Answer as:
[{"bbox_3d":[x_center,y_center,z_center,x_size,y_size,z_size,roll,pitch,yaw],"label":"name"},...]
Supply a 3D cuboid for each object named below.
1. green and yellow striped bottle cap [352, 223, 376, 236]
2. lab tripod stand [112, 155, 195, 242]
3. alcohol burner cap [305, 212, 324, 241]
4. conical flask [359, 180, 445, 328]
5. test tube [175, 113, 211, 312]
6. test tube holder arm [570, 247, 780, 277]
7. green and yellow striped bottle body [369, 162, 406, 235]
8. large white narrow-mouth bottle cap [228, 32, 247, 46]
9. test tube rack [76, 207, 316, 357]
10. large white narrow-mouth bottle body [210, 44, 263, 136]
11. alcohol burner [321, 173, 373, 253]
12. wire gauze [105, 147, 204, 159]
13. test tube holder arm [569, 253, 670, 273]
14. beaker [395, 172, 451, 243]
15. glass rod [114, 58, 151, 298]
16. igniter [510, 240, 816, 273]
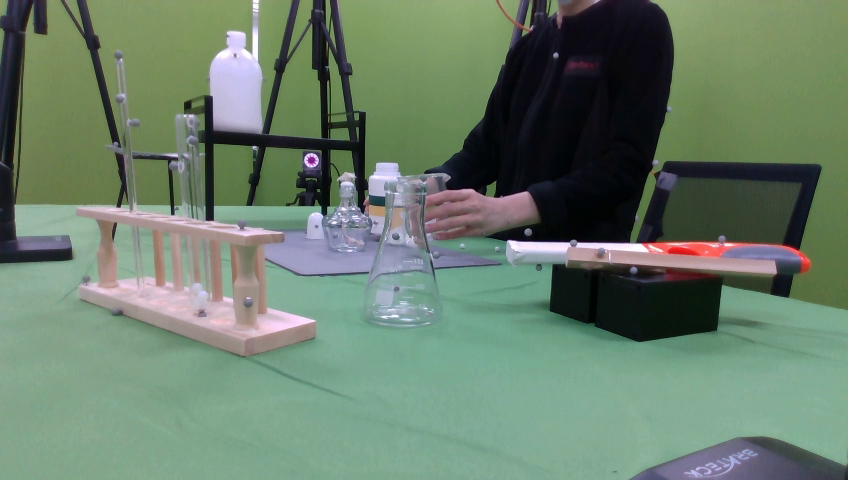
[{"bbox_3d":[-0.113,-0.020,1.140,0.045,0.020,0.045,4,6,0],"label":"green and yellow striped bottle cap"},{"bbox_3d":[-0.405,-0.064,0.931,0.148,0.131,0.148,1,6,0],"label":"lab tripod stand"},{"bbox_3d":[-0.185,-0.023,1.027,0.034,0.048,0.034,2,7,0],"label":"alcohol burner cap"},{"bbox_3d":[-0.017,0.010,0.522,0.075,0.122,0.075,2,7,0],"label":"conical flask"},{"bbox_3d":[-0.174,-0.020,0.458,0.017,0.150,0.017,-3,5,1],"label":"test tube"},{"bbox_3d":[0.217,0.019,0.525,0.178,0.015,0.013,3,-23,3],"label":"test tube holder arm"},{"bbox_3d":[-0.062,-0.072,1.029,0.063,0.119,0.063,2,11,0],"label":"green and yellow striped bottle body"},{"bbox_3d":[-0.364,-0.390,1.180,0.038,0.024,0.037,3,8,0],"label":"large white narrow-mouth bottle cap"},{"bbox_3d":[-0.196,0.023,0.499,0.241,0.085,0.067,8,9,36],"label":"test tube rack"},{"bbox_3d":[-0.369,-0.305,1.194,0.102,0.194,0.102,3,8,0],"label":"large white narrow-mouth bottle body"},{"bbox_3d":[-0.115,-0.041,0.905,0.078,0.119,0.078,1,6,0],"label":"alcohol burner"},{"bbox_3d":[-0.407,-0.131,0.928,0.125,0.011,0.121,2,6,-11],"label":"wire gauze"},{"bbox_3d":[0.172,0.019,0.532,0.088,0.015,0.010,3,-23,3],"label":"test tube holder arm"},{"bbox_3d":[0.003,-0.050,0.907,0.084,0.100,0.074,-5,7,3],"label":"beaker"},{"bbox_3d":[-0.236,-0.044,0.492,0.008,0.199,0.008,0,15,0],"label":"glass rod"},{"bbox_3d":[0.220,0.015,0.565,0.277,0.025,0.057,2,16,0],"label":"igniter"}]
